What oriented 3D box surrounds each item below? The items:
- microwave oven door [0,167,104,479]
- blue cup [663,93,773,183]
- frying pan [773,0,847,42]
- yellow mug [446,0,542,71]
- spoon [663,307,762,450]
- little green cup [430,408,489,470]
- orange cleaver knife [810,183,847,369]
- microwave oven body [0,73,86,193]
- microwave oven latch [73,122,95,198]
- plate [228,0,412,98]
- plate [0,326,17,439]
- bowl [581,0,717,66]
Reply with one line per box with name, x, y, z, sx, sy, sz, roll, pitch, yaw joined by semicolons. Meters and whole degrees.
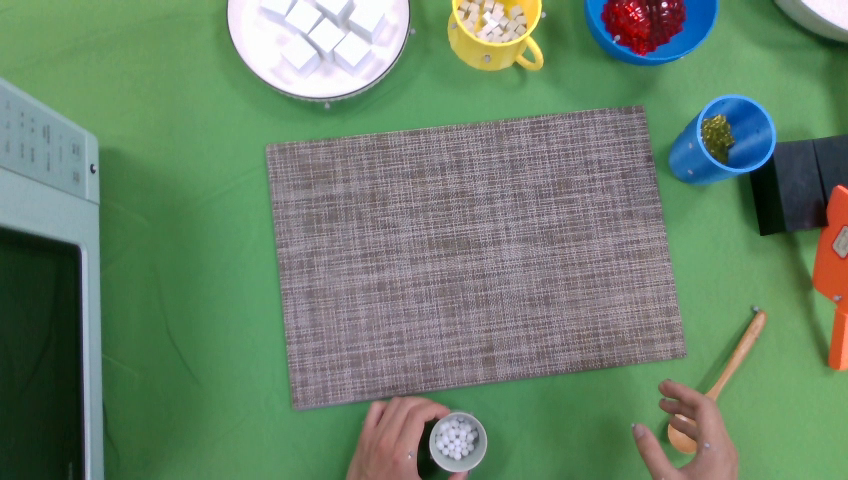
microwave oven door;-0.355;0.120;0.528;0.039;0.244;0.354;-4;84;-3
blue cup;0.318;-0.105;0.678;0.093;0.100;0.092;1;82;-4
frying pan;0.532;-0.270;0.706;0.307;0.103;0.485;-2;76;-2
yellow mug;0.089;-0.247;0.699;0.100;0.064;0.131;-44;88;-7
spoon;0.335;0.155;0.689;0.041;0.022;0.193;37;83;13
little green cup;0.036;0.210;0.649;0.062;0.038;0.061;1;86;-10
orange cleaver knife;0.462;0.043;0.678;0.012;0.076;0.212;-8;113;-3
microwave oven body;-0.504;0.087;0.528;0.326;0.260;0.440;-4;84;-4
microwave oven latch;-0.372;-0.085;0.651;0.030;0.029;0.079;-2;84;-4
plate;-0.118;-0.261;0.704;0.208;0.039;0.207;0;84;-3
plate;-0.491;0.141;0.575;0.209;0.038;0.208;0;85;-4
bowl;0.248;-0.265;0.704;0.151;0.077;0.151;0;84;-3
